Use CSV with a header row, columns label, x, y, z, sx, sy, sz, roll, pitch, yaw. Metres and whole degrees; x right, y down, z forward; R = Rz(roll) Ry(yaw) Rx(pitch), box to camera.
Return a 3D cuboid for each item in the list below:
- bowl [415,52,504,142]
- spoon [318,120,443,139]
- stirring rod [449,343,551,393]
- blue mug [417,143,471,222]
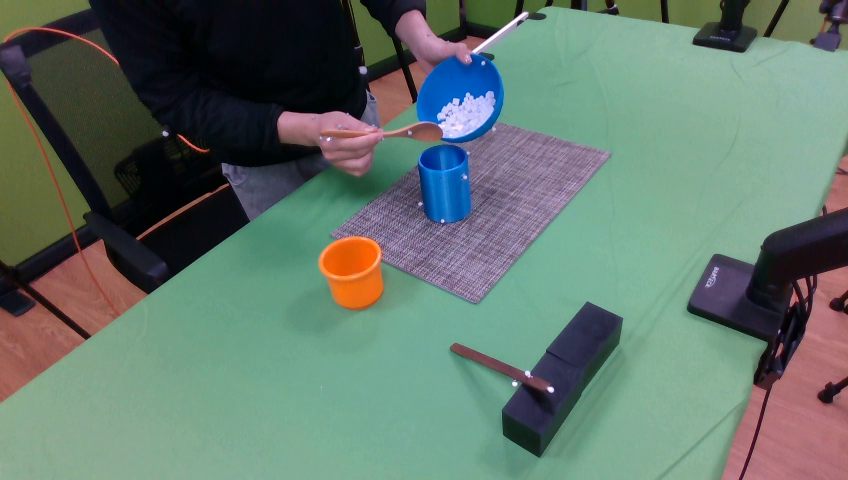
label,x,y,z,sx,sy,sz,roll,pitch,yaw
bowl,0.069,-0.222,0.997,0.150,0.077,0.151,-7,73,23
spoon,-0.062,-0.164,0.913,0.195,0.041,0.021,-7,63,-24
stirring rod,0.088,0.154,0.741,0.014,0.006,0.174,-39,28,-25
blue mug,0.031,-0.104,1.014,0.082,0.106,0.115,-14,41,-7
